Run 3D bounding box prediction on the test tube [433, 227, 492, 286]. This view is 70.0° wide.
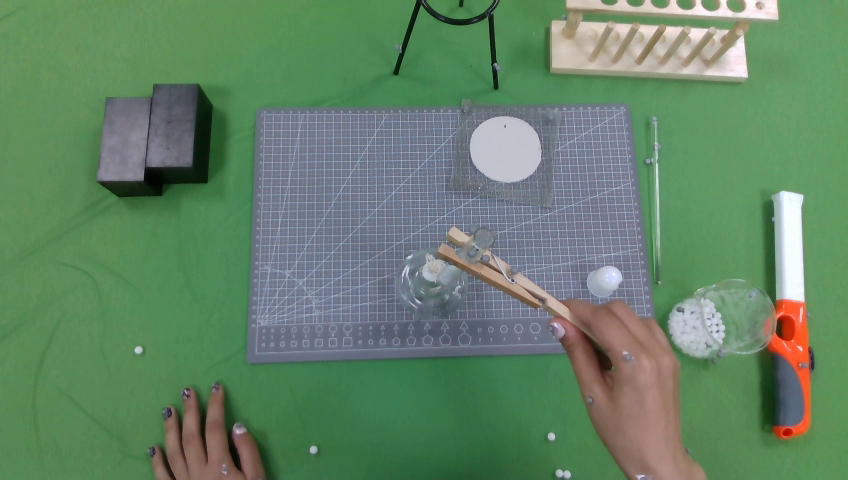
[{"bbox_3d":[0.027,0.017,0.476,0.017,0.150,0.017,2,75,-9],"label":"test tube"}]

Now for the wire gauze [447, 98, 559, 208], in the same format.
[{"bbox_3d":[0.095,-0.107,0.719,0.125,0.011,0.121,10,77,0],"label":"wire gauze"}]

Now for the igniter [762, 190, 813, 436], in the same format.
[{"bbox_3d":[0.405,0.077,0.676,0.057,0.025,0.275,9,76,-10],"label":"igniter"}]

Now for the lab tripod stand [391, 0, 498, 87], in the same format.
[{"bbox_3d":[0.030,-0.246,0.689,0.148,0.132,0.147,0,78,-1],"label":"lab tripod stand"}]

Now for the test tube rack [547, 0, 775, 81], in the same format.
[{"bbox_3d":[0.276,-0.245,0.722,0.242,0.085,0.066,2,76,-1],"label":"test tube rack"}]

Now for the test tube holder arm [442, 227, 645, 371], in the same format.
[{"bbox_3d":[0.090,0.045,0.455,0.178,0.015,0.013,33,78,1],"label":"test tube holder arm"}]

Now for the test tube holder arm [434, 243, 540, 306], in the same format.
[{"bbox_3d":[0.048,0.027,0.454,0.088,0.015,0.010,26,77,0],"label":"test tube holder arm"}]

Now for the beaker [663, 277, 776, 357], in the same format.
[{"bbox_3d":[0.300,0.083,0.635,0.084,0.101,0.074,30,76,7],"label":"beaker"}]

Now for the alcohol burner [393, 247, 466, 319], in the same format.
[{"bbox_3d":[0.006,0.041,0.624,0.078,0.119,0.077,0,74,0],"label":"alcohol burner"}]

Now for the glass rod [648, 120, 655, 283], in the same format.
[{"bbox_3d":[0.268,-0.047,0.712,0.008,0.008,0.199,4,78,-1],"label":"glass rod"}]

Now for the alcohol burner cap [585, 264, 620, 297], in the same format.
[{"bbox_3d":[0.199,0.042,0.667,0.034,0.048,0.033,0,76,-1],"label":"alcohol burner cap"}]
